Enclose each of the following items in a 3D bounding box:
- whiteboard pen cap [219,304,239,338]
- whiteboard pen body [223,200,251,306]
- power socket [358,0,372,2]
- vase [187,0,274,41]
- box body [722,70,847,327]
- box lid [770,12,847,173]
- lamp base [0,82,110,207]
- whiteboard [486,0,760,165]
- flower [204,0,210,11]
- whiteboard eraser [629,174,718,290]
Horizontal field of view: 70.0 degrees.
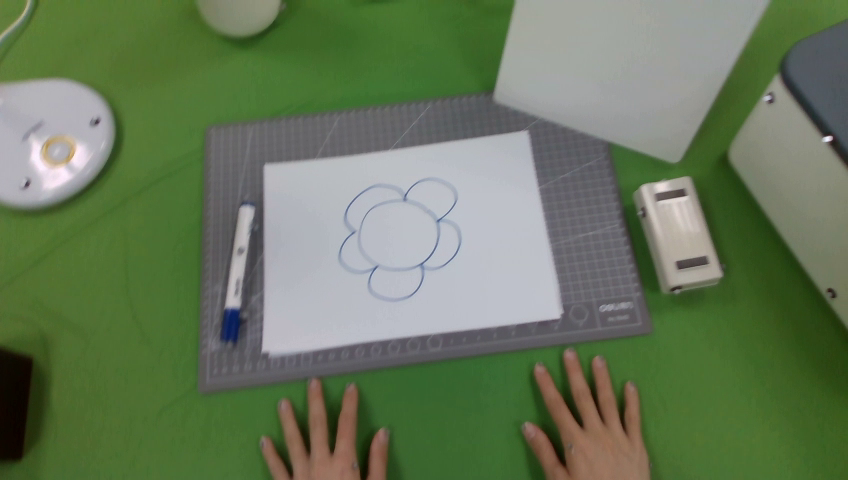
[{"bbox_3d":[-0.196,0.081,0.610,0.018,0.018,0.033,0,71,4],"label":"whiteboard pen cap"},{"bbox_3d":[-0.195,0.026,0.628,0.017,0.017,0.140,0,72,4],"label":"whiteboard pen body"},{"bbox_3d":[0.007,-0.352,0.757,0.227,0.033,0.071,-12,70,-2],"label":"power socket"},{"bbox_3d":[-0.237,-0.314,0.666,0.098,0.201,0.097,-1,69,4],"label":"vase"},{"bbox_3d":[0.487,-0.034,0.545,0.254,0.161,0.361,-25,70,-6],"label":"box body"},{"bbox_3d":[0.482,-0.063,0.475,0.263,0.015,0.368,-25,70,-6],"label":"box lid"},{"bbox_3d":[-0.455,-0.144,0.623,0.178,0.181,0.160,24,72,15],"label":"lamp base"},{"bbox_3d":[0.211,-0.262,0.601,0.216,0.308,0.143,22,51,12],"label":"whiteboard"},{"bbox_3d":[-0.221,-0.338,0.587,0.038,0.362,0.044,40,67,-2],"label":"flower"},{"bbox_3d":[0.250,-0.008,0.612,0.055,0.042,0.112,-10,69,-2],"label":"whiteboard eraser"}]
